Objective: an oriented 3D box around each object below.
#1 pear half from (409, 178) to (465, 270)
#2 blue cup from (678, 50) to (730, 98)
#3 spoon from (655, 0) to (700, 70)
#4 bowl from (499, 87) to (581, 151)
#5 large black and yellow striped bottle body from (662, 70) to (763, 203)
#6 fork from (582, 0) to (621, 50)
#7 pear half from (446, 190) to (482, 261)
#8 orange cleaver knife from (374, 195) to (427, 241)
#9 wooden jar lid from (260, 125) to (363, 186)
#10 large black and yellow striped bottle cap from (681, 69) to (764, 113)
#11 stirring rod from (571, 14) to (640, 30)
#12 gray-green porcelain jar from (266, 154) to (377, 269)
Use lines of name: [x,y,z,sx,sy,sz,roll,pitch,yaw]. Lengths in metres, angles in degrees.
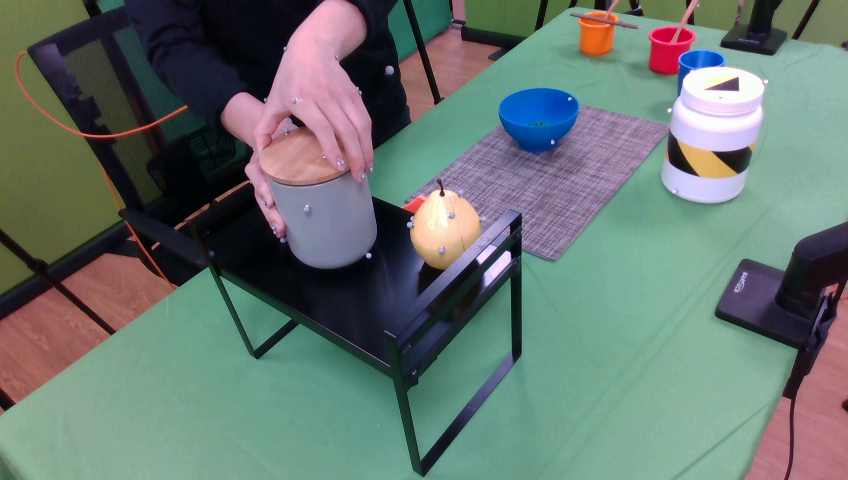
pear half: [0.010,-0.018,0.655,0.056,0.110,0.076,-16,37,-9]
blue cup: [0.542,-0.310,1.194,0.092,0.101,0.092,-6,41,6]
spoon: [0.568,-0.463,1.337,0.041,0.022,0.193,30,97,37]
bowl: [0.221,-0.223,1.156,0.151,0.077,0.150,-4,40,4]
large black and yellow striped bottle body: [0.464,-0.166,0.976,0.131,0.185,0.130,-5,41,5]
fork: [0.446,-0.539,1.438,0.207,0.019,0.028,-57,35,12]
pear half: [0.046,-0.020,0.665,0.031,0.088,0.070,-17,37,-8]
orange cleaver knife: [-0.037,-0.029,0.973,0.210,0.077,0.012,-8,33,50]
wooden jar lid: [-0.119,-0.088,0.645,0.108,0.021,0.108,-4,40,4]
large black and yellow striped bottle cap: [0.453,-0.229,0.921,0.115,0.019,0.114,-4,39,4]
stirring rod: [0.418,-0.508,1.404,0.174,0.006,0.014,28,55,35]
gray-green porcelain jar: [-0.112,-0.039,0.686,0.106,0.127,0.105,-4,40,4]
